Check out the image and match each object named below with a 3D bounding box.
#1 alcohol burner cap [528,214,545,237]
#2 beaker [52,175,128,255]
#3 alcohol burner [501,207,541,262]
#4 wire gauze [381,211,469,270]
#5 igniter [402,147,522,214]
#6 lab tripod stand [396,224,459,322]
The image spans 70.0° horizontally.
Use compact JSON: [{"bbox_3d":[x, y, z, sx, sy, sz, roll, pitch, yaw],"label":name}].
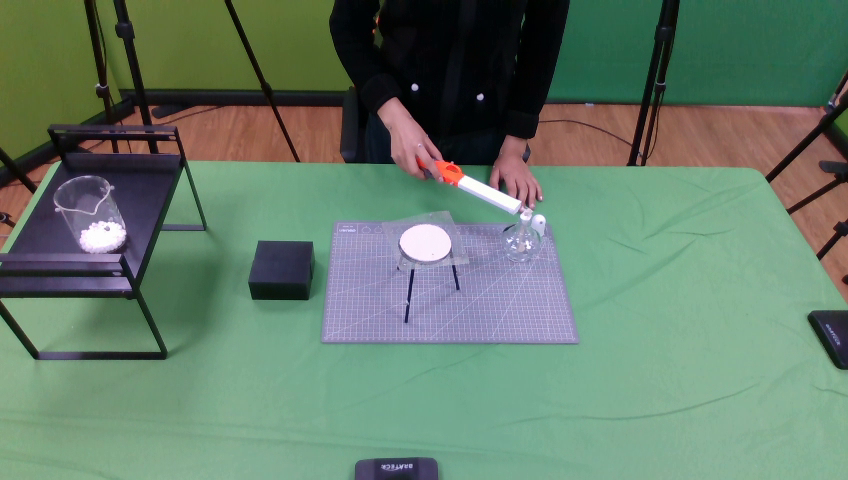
[{"bbox_3d":[0.231,-0.032,1.230,0.034,0.048,0.033,2,46,-2],"label":"alcohol burner cap"},{"bbox_3d":[-0.482,-0.032,0.888,0.074,0.101,0.083,-28,55,-27],"label":"beaker"},{"bbox_3d":[0.188,-0.015,1.160,0.078,0.120,0.077,1,44,-1],"label":"alcohol burner"},{"bbox_3d":[0.000,0.001,1.023,0.125,0.011,0.120,-9,48,-13],"label":"wire gauze"},{"bbox_3d":[0.066,-0.122,1.191,0.275,0.025,0.057,29,52,24],"label":"igniter"},{"bbox_3d":[-0.003,0.052,1.067,0.148,0.132,0.147,3,47,-3],"label":"lab tripod stand"}]
